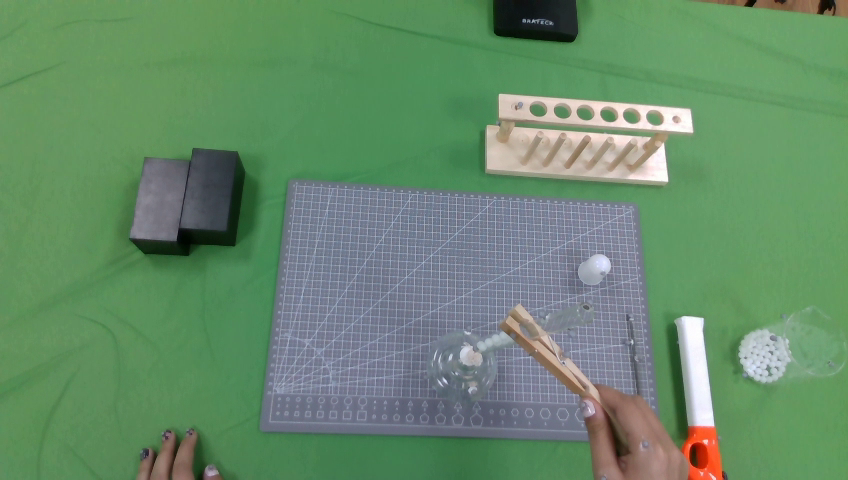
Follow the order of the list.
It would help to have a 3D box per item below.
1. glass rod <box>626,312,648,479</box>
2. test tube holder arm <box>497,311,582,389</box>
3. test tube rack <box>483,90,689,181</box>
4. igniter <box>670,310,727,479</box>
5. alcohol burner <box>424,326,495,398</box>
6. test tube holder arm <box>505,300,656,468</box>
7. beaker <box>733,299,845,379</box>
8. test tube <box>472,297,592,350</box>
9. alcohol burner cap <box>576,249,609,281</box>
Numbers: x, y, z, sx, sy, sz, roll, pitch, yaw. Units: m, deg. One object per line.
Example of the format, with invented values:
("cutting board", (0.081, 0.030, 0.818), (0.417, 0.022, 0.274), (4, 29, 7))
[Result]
("glass rod", (0.248, 0.182, 0.706), (0.008, 0.008, 0.198), (3, 71, -6))
("test tube holder arm", (0.096, 0.092, 0.501), (0.088, 0.015, 0.010), (41, 58, -5))
("test tube rack", (0.202, -0.131, 0.771), (0.243, 0.085, 0.066), (3, 70, -6))
("igniter", (0.314, 0.218, 0.694), (0.057, 0.025, 0.274), (7, 71, -15))
("alcohol burner", (0.040, 0.126, 0.645), (0.078, 0.120, 0.077), (2, 68, -5))
("test tube holder arm", (0.131, 0.120, 0.506), (0.178, 0.015, 0.013), (48, 59, -1))
("beaker", (0.417, 0.118, 0.703), (0.074, 0.101, 0.083), (16, 69, -1))
("test tube", (0.083, 0.072, 0.502), (0.017, 0.150, 0.017), (10, 67, -25))
("alcohol burner cap", (0.207, 0.028, 0.737), (0.034, 0.048, 0.033), (2, 71, -6))
